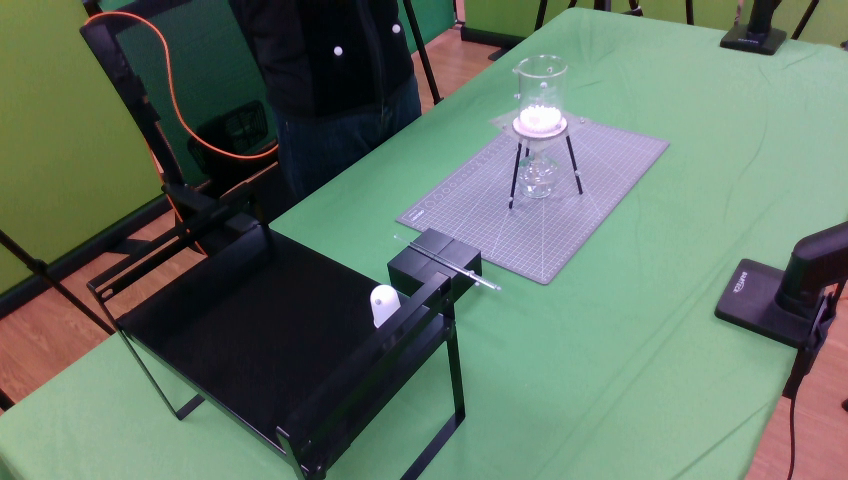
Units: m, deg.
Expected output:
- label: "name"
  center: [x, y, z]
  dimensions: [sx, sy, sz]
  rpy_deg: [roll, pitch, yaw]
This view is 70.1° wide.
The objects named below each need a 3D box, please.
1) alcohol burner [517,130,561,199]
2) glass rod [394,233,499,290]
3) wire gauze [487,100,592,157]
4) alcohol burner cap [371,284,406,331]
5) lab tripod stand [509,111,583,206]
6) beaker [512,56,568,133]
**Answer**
- label: "alcohol burner"
  center: [0.193, -0.131, 1.026]
  dimensions: [0.078, 0.119, 0.077]
  rpy_deg: [-4, 38, 4]
- label: "glass rod"
  center: [0.027, 0.029, 0.873]
  dimensions: [0.198, 0.008, 0.008]
  rpy_deg: [27, 51, 34]
- label: "wire gauze"
  center: [0.185, -0.187, 0.974]
  dimensions: [0.122, 0.011, 0.124]
  rpy_deg: [-28, 47, -22]
- label: "alcohol burner cap"
  center: [-0.037, 0.065, 0.608]
  dimensions: [0.034, 0.048, 0.033]
  rpy_deg: [-4, 41, 4]
- label: "lab tripod stand"
  center: [0.198, -0.139, 1.019]
  dimensions: [0.148, 0.132, 0.147]
  rpy_deg: [-3, 39, 3]
- label: "beaker"
  center: [0.181, -0.225, 0.946]
  dimensions: [0.084, 0.101, 0.074]
  rpy_deg: [3, 41, 12]
